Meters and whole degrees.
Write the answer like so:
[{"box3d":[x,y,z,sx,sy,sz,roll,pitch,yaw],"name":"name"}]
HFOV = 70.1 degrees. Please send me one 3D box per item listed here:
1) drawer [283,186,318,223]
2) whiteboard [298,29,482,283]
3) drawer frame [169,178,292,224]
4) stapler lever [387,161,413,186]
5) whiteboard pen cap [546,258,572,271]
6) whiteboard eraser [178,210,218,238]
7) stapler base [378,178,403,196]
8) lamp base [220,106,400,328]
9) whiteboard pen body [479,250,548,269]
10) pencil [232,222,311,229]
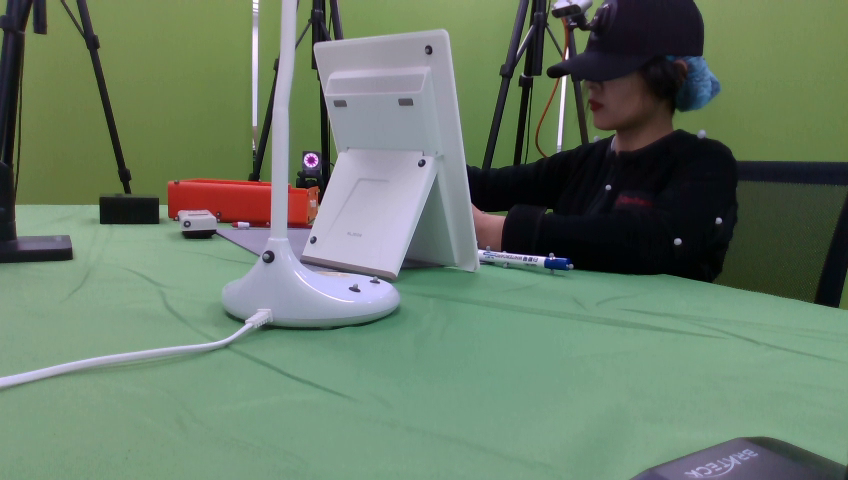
[{"box3d":[-0.342,-0.083,1.310,0.212,0.073,0.194,2,8,-4],"name":"drawer"},{"box3d":[-0.075,-0.082,0.741,0.216,0.305,0.144,9,29,37],"name":"whiteboard"},{"box3d":[-0.406,-0.087,1.304,0.214,0.082,0.201,1,8,-5],"name":"drawer frame"},{"box3d":[-0.045,-0.123,1.124,0.027,0.040,0.118,35,-3,-10],"name":"stapler lever"},{"box3d":[0.175,0.032,0.790,0.033,0.018,0.018,3,7,37],"name":"whiteboard pen cap"},{"box3d":[-0.380,-0.027,1.014,0.056,0.042,0.112,0,8,-25],"name":"whiteboard eraser"},{"box3d":[-0.059,-0.101,1.122,0.041,0.024,0.130,35,-2,-10],"name":"stapler base"},{"box3d":[-0.101,-0.023,0.531,0.160,0.180,0.179,4,10,10],"name":"lamp base"},{"box3d":[0.130,0.028,0.827,0.140,0.017,0.017,6,8,39],"name":"whiteboard pen body"},{"box3d":[-0.261,-0.025,1.140,0.195,0.012,0.012,2,7,-26],"name":"pencil"}]
